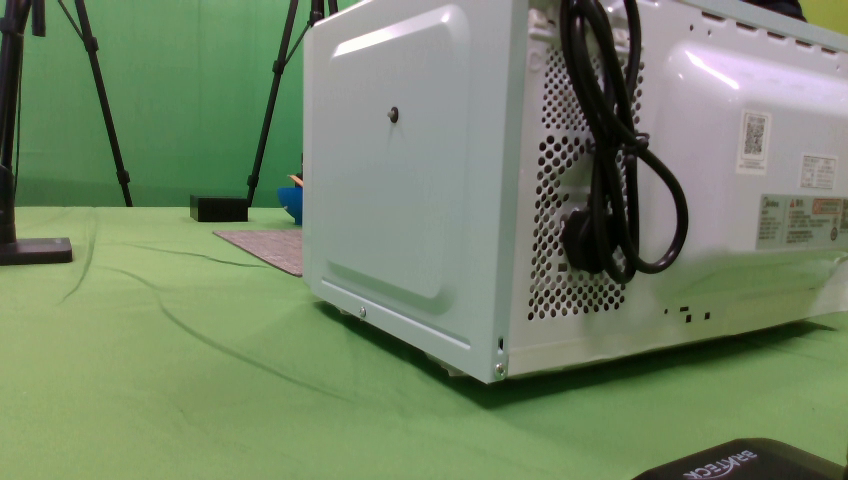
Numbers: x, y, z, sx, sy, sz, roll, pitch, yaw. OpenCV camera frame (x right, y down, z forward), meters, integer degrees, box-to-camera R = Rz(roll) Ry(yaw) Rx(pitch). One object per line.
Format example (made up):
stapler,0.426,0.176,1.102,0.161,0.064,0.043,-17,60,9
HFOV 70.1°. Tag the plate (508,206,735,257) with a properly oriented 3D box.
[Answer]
plate,0.186,-0.010,0.588,0.208,0.039,0.207,1,5,0

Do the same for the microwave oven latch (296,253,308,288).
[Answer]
microwave oven latch,-0.081,0.028,0.574,0.079,0.029,0.030,1,6,-16

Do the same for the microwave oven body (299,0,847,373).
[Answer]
microwave oven body,0.152,-0.055,0.542,0.444,0.260,0.324,-2,7,-33

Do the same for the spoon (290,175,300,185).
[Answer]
spoon,-0.260,-0.110,1.342,0.042,0.021,0.192,-9,34,-30

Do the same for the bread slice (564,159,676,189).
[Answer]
bread slice,0.188,-0.063,0.577,0.104,0.019,0.132,8,6,16

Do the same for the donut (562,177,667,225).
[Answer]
donut,0.184,-0.038,0.587,0.099,0.048,0.099,-2,3,0

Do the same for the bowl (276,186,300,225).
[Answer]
bowl,-0.241,-0.073,1.302,0.151,0.077,0.151,2,7,0

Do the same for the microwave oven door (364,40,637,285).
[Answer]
microwave oven door,0.105,-0.081,0.694,0.358,0.243,0.039,-2,9,-30

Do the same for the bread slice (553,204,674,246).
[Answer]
bread slice,0.182,-0.016,0.578,0.107,0.018,0.134,-4,10,8
